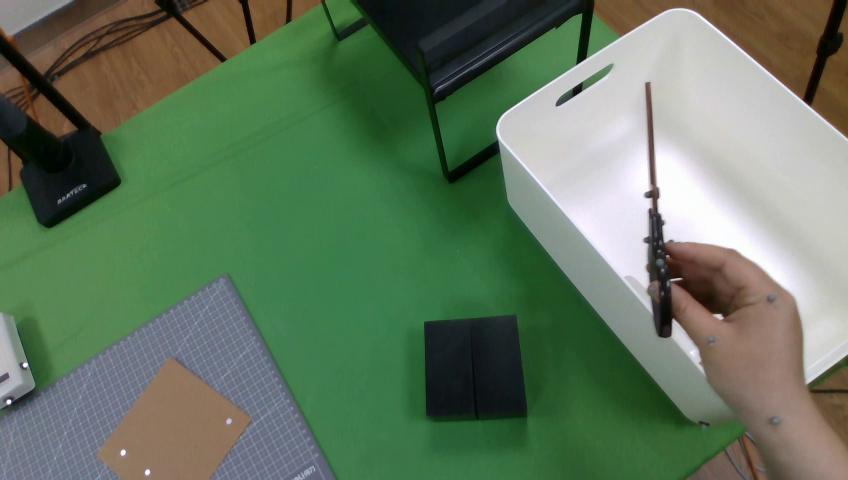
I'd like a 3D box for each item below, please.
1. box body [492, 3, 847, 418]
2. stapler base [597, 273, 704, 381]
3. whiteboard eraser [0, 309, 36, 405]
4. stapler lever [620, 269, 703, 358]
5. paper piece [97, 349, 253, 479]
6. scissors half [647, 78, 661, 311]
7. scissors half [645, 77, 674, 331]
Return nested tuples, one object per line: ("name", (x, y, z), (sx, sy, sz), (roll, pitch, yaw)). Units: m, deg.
("box body", (0.273, -0.029, 0.629), (0.254, 0.162, 0.361), (-34, 66, -6))
("stapler base", (0.244, 0.088, 0.655), (0.041, 0.024, 0.129), (-37, 70, -5))
("whiteboard eraser", (-0.519, 0.144, 0.744), (0.055, 0.042, 0.111), (-34, 67, -5))
("stapler lever", (0.242, 0.080, 0.630), (0.027, 0.040, 0.117), (-37, 70, -5))
("paper piece", (-0.286, 0.218, 0.692), (0.137, 0.009, 0.136), (30, 79, 17))
("scissors half", (0.165, -0.027, 0.432), (0.013, 0.176, 0.040), (-6, 22, 14))
("scissors half", (0.159, -0.022, 0.413), (0.012, 0.040, 0.175), (-5, 97, 20))
